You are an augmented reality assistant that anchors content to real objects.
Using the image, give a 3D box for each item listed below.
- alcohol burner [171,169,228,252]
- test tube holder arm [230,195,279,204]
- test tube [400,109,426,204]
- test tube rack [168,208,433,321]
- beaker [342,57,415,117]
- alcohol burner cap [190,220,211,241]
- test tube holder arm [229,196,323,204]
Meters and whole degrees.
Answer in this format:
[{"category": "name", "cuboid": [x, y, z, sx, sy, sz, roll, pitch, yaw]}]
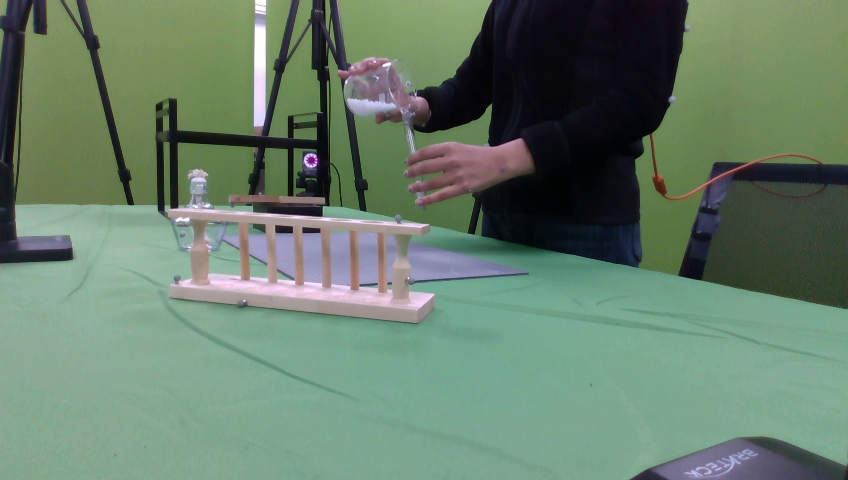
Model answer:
[{"category": "alcohol burner", "cuboid": [-0.325, -0.043, 0.875, 0.078, 0.119, 0.078, 0, 7, 0]}, {"category": "test tube holder arm", "cuboid": [-0.311, -0.075, 1.115, 0.088, 0.015, 0.010, -1, 1, -31]}, {"category": "test tube", "cuboid": [-0.017, -0.130, 0.943, 0.017, 0.150, 0.017, -10, -2, 0]}, {"category": "test tube rack", "cuboid": [-0.115, 0.017, 0.574, 0.242, 0.085, 0.067, 4, 8, 13]}, {"category": "beaker", "cuboid": [-0.075, -0.238, 0.969, 0.100, 0.084, 0.074, -5, 6, 37]}, {"category": "alcohol burner cap", "cuboid": [-0.365, -0.023, 0.988, 0.034, 0.048, 0.034, 1, 7, 0]}, {"category": "test tube holder arm", "cuboid": [-0.276, -0.075, 1.144, 0.179, 0.015, 0.013, -1, 1, -32]}]
